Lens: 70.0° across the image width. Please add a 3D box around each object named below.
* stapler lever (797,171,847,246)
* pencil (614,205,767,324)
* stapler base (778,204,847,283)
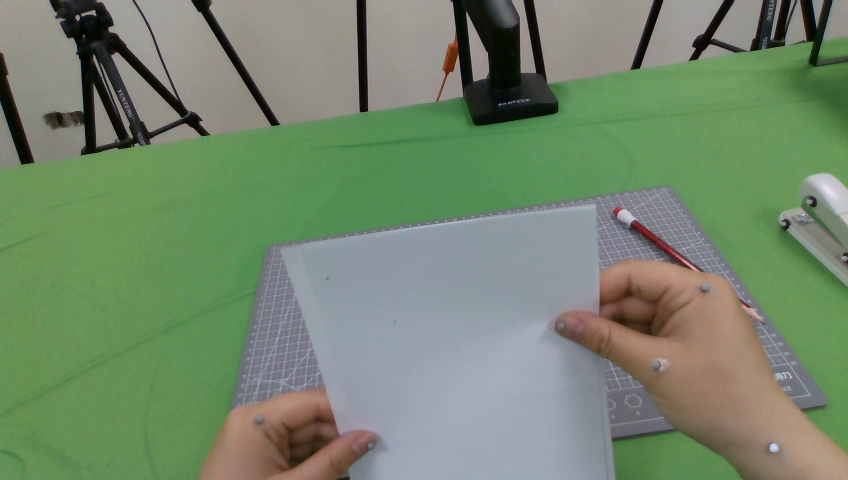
[{"bbox_3d":[0.375,-0.018,0.532,0.027,0.040,0.117,-13,40,-2],"label":"stapler lever"},{"bbox_3d":[0.239,0.017,0.563,0.012,0.012,0.192,-21,40,-14],"label":"pencil"},{"bbox_3d":[0.377,0.001,0.550,0.041,0.025,0.129,-13,40,-2],"label":"stapler base"}]
